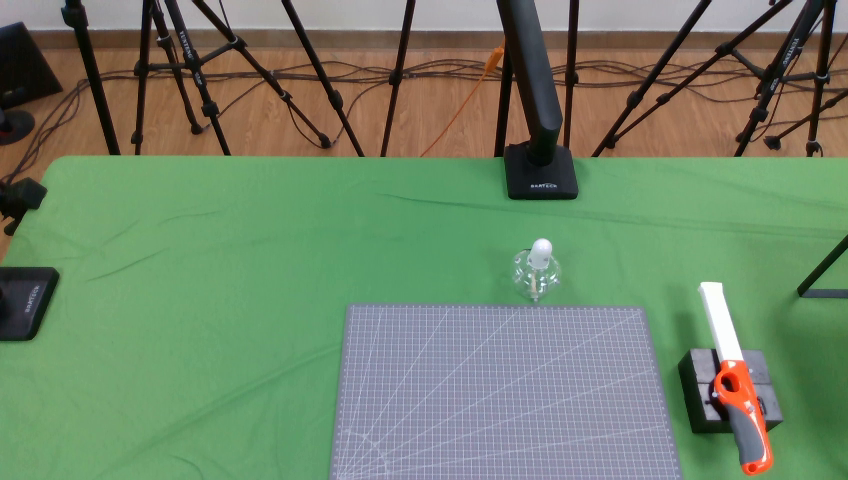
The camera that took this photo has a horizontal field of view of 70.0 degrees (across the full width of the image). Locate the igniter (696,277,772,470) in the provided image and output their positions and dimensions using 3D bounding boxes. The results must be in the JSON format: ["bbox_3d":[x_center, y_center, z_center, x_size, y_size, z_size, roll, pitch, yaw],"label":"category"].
[{"bbox_3d":[0.405,0.165,0.800,0.057,0.025,0.274,3,52,2],"label":"igniter"}]

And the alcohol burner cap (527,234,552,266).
[{"bbox_3d":[0.168,0.011,0.871,0.034,0.048,0.033,2,54,-2],"label":"alcohol burner cap"}]

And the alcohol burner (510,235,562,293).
[{"bbox_3d":[0.169,0.028,0.897,0.078,0.120,0.077,2,56,-2],"label":"alcohol burner"}]
